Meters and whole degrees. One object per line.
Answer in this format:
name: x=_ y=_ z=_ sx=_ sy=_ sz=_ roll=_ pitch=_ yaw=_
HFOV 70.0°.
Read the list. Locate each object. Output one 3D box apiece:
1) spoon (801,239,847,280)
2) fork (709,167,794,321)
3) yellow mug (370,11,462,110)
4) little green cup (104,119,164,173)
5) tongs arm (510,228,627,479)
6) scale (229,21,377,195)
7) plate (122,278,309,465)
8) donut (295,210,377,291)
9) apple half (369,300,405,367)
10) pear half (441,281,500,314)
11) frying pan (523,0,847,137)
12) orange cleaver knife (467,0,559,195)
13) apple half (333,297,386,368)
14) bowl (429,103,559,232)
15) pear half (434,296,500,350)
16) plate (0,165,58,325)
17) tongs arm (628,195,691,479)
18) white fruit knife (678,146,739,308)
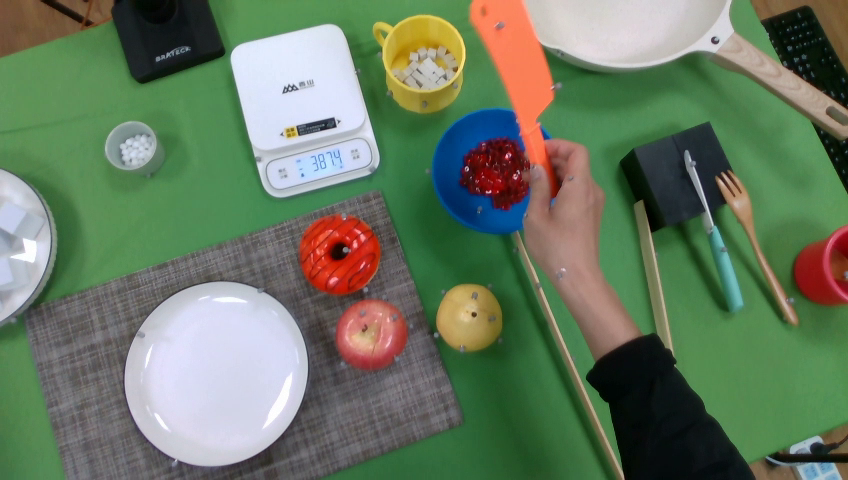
spoon: x=0.506 y=0.057 z=0.676 sx=0.041 sy=0.022 sz=0.191 roll=-25 pitch=37 yaw=-5
fork: x=0.394 y=0.007 z=0.723 sx=0.028 sy=0.018 sz=0.208 roll=-30 pitch=97 yaw=-7
yellow mug: x=-0.016 y=-0.230 z=0.753 sx=0.130 sy=0.064 sz=0.100 roll=37 pitch=82 yaw=6
little green cup: x=-0.352 y=-0.112 z=0.741 sx=0.061 sy=0.039 sz=0.061 roll=0 pitch=80 yaw=0
tongs arm: x=0.194 y=0.156 z=0.710 sx=0.051 sy=0.026 sz=0.383 roll=-19 pitch=82 yaw=-11
scale: x=-0.152 y=-0.167 z=0.757 sx=0.149 sy=0.031 sz=0.200 roll=-15 pitch=82 yaw=-3
plate: x=-0.234 y=0.148 z=0.696 sx=0.209 sy=0.038 sz=0.208 roll=0 pitch=80 yaw=-1
donut: x=-0.104 y=0.012 z=0.718 sx=0.099 sy=0.048 sz=0.098 roll=0 pitch=82 yaw=1
apple half: x=-0.038 y=0.109 z=0.688 sx=0.033 sy=0.081 sz=0.081 roll=13 pitch=80 yaw=4
pear half: x=0.056 y=0.063 z=0.694 sx=0.070 sy=0.088 sz=0.031 roll=11 pitch=80 yaw=4
frying pan: x=0.312 y=-0.280 z=0.749 sx=0.485 sy=0.103 sz=0.306 roll=42 pitch=83 yaw=14
orange cleaver knife: x=0.096 y=-0.143 z=0.560 sx=0.077 sy=0.012 sz=0.213 roll=-43 pitch=120 yaw=-31
apple half: x=-0.076 y=0.101 z=0.690 sx=0.053 sy=0.075 sz=0.080 roll=13 pitch=83 yaw=5
bowl: x=0.079 y=-0.078 z=0.724 sx=0.151 sy=0.077 sz=0.151 roll=0 pitch=81 yaw=-1
pear half: x=0.046 y=0.095 z=0.678 sx=0.076 sy=0.110 sz=0.056 roll=12 pitch=80 yaw=5
plate: x=-0.535 y=0.010 z=0.717 sx=0.208 sy=0.039 sz=0.207 roll=0 pitch=80 yaw=-1
tongs arm: x=0.277 y=0.136 z=0.722 sx=0.028 sy=0.028 sz=0.386 roll=-4 pitch=80 yaw=-12
white fruit knife: x=0.336 y=-0.013 z=0.718 sx=0.016 sy=0.027 sz=0.208 roll=-22 pitch=96 yaw=-4
